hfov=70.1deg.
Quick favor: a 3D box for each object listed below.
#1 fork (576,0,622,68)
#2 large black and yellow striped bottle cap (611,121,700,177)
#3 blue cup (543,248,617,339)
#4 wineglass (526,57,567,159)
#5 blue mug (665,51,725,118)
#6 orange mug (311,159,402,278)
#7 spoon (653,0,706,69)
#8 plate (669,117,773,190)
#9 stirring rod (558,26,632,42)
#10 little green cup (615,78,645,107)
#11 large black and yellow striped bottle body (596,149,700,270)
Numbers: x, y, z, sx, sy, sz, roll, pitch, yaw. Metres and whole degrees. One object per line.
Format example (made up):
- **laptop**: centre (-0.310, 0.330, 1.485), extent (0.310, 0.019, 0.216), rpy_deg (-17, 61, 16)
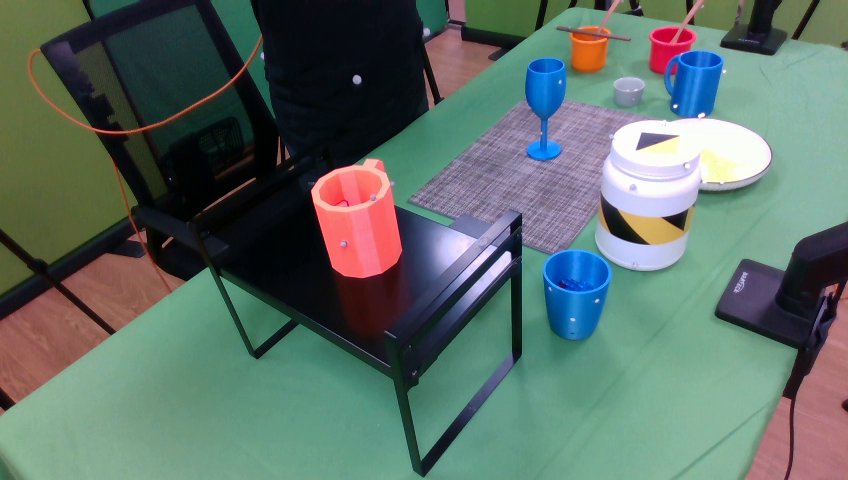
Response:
- **fork**: centre (0.409, -0.484, 1.381), extent (0.028, 0.019, 0.207), rpy_deg (37, 101, 46)
- **large black and yellow striped bottle cap**: centre (0.315, -0.126, 0.823), extent (0.115, 0.019, 0.114), rpy_deg (-4, 42, 4)
- **blue cup**: centre (0.199, 0.076, 0.797), extent (0.092, 0.100, 0.092), rpy_deg (-4, 39, 4)
- **wineglass**: centre (0.221, -0.237, 1.097), extent (0.074, 0.173, 0.073), rpy_deg (-4, 41, 4)
- **blue mug**: centre (0.526, -0.314, 1.199), extent (0.082, 0.106, 0.115), rpy_deg (-27, 44, -21)
- **orange mug**: centre (-0.070, -0.034, 0.694), extent (0.083, 0.101, 0.126), rpy_deg (5, 46, 16)
- **spoon**: centre (0.570, -0.461, 1.334), extent (0.041, 0.022, 0.193), rpy_deg (39, 103, 42)
- **plate**: centre (0.495, -0.148, 1.063), extent (0.209, 0.038, 0.208), rpy_deg (-5, 40, 4)
- **stirring rod**: centre (0.381, -0.463, 1.356), extent (0.175, 0.006, 0.014), rpy_deg (22, 48, 30)
- **little green cup**: centre (0.426, -0.306, 1.257), extent (0.061, 0.039, 0.061), rpy_deg (-4, 40, 4)
- **large black and yellow striped bottle body**: centre (0.323, -0.062, 0.877), extent (0.131, 0.185, 0.130), rpy_deg (-5, 40, 4)
